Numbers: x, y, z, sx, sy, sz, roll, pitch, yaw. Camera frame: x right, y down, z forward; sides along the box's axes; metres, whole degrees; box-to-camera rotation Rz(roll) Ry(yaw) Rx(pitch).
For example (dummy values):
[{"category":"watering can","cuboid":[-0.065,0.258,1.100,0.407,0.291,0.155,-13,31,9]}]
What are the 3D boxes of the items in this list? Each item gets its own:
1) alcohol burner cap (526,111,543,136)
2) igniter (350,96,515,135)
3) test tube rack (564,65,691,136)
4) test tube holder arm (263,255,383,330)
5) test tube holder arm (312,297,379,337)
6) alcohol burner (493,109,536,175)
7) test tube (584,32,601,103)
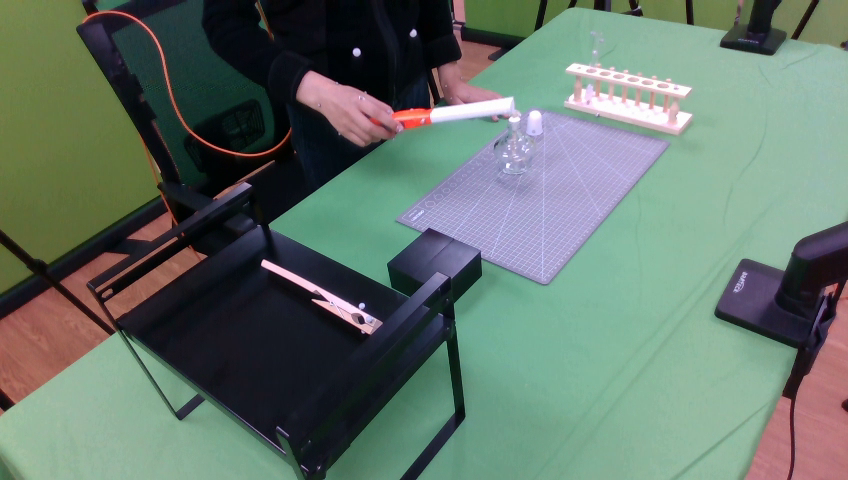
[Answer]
[{"category":"alcohol burner cap","cuboid":[0.219,-0.232,1.196,0.034,0.048,0.033,-4,41,4]},{"category":"igniter","cuboid":[0.005,-0.195,0.948,0.275,0.025,0.057,-3,32,21]},{"category":"test tube rack","cuboid":[0.404,-0.288,1.204,0.240,0.085,0.067,24,49,32]},{"category":"test tube holder arm","cuboid":[-0.113,0.054,0.647,0.177,0.015,0.013,26,80,33]},{"category":"test tube holder arm","cuboid":[-0.082,0.075,0.622,0.087,0.015,0.010,27,81,33]},{"category":"alcohol burner","cuboid":[0.163,-0.179,1.087,0.078,0.119,0.077,-5,39,5]},{"category":"test tube","cuboid":[0.333,-0.338,1.198,0.017,0.151,0.017,-3,45,3]}]
